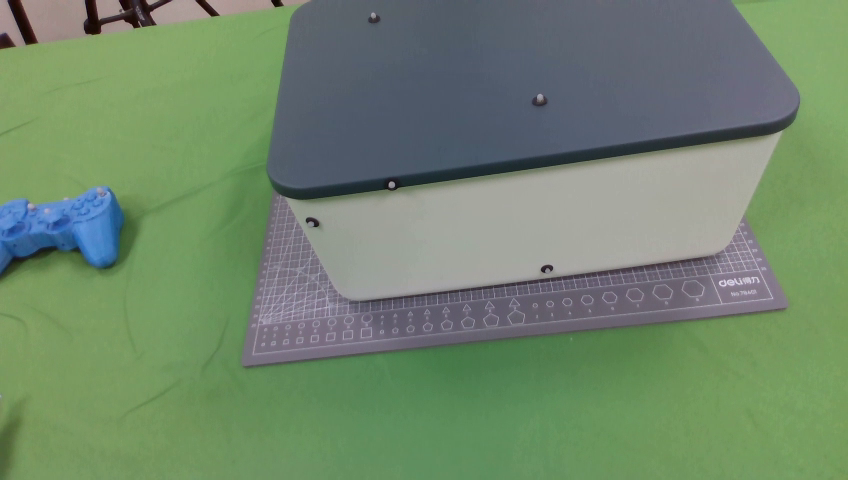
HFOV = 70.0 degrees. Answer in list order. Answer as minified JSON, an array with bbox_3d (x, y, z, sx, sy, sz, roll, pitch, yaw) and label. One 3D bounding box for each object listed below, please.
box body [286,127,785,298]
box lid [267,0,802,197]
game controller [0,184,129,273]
[{"bbox_3d":[0.077,-0.102,0.539,0.364,0.162,0.251,-8,49,4],"label":"box body"},{"bbox_3d":[0.064,-0.149,0.484,0.371,0.015,0.260,-8,49,4],"label":"box lid"},{"bbox_3d":[-0.386,-0.014,0.627,0.155,0.052,0.096,-7,45,3],"label":"game controller"}]
